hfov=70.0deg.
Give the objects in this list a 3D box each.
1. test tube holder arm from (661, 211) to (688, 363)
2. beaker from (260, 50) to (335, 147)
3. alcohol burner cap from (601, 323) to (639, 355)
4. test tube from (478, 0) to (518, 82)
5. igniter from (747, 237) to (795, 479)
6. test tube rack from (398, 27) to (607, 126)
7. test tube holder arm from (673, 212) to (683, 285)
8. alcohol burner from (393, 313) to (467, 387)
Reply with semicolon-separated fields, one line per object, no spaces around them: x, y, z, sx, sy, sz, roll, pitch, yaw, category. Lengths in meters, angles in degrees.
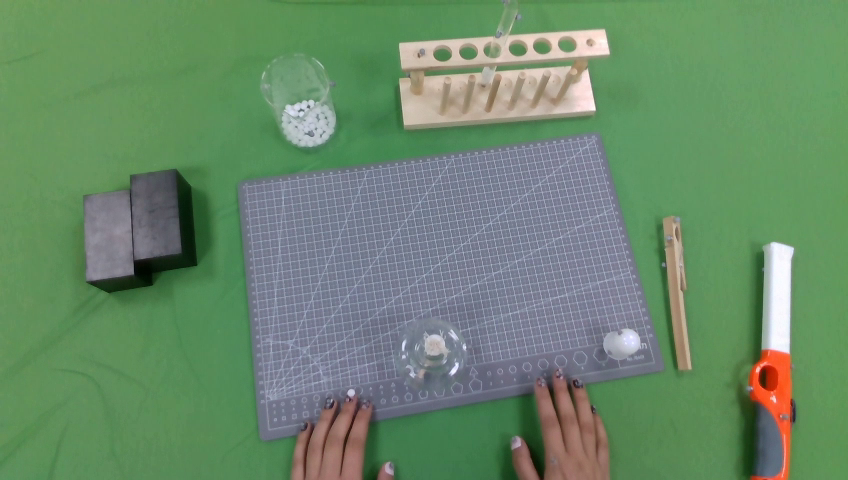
0.291;0.053;0.703;0.013;0.015;0.177;12;71;-35;test tube holder arm
-0.142;-0.157;0.704;0.074;0.101;0.083;-6;74;-4;beaker
0.219;0.109;0.670;0.034;0.048;0.033;1;72;-3;alcohol burner cap
0.081;-0.222;0.689;0.017;0.151;0.017;2;74;-5;test tube
0.392;0.130;0.682;0.057;0.025;0.275;14;73;-8;igniter
0.091;-0.196;0.734;0.242;0.085;0.066;-5;74;-4;test tube rack
0.296;0.011;0.719;0.010;0.015;0.087;14;70;-34;test tube holder arm
0.007;0.110;0.622;0.078;0.119;0.077;1;72;-3;alcohol burner
